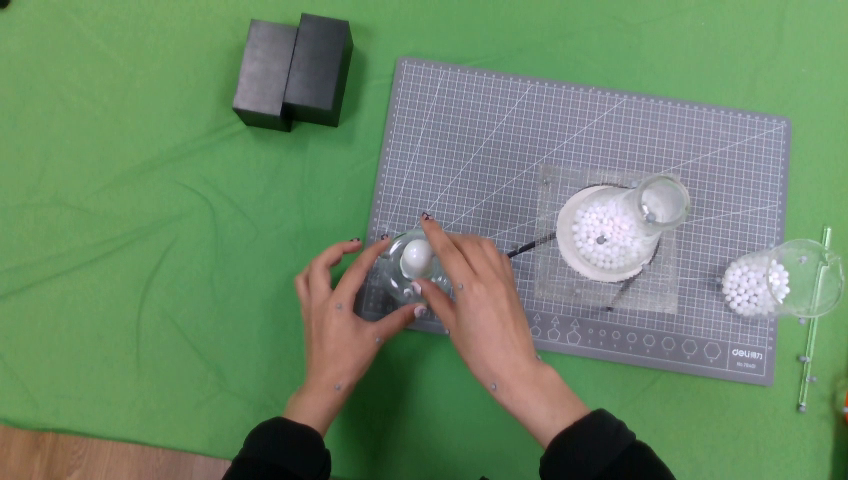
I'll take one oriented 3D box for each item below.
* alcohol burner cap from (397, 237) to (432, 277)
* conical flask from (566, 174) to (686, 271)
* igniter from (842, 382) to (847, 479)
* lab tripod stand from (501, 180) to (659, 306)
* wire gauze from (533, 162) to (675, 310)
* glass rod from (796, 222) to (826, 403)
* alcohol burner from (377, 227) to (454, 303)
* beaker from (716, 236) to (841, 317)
[{"bbox_3d":[-0.008,0.013,0.560,0.034,0.048,0.033,2,73,-5],"label":"alcohol burner cap"},{"bbox_3d":[0.160,-0.018,0.469,0.075,0.122,0.075,0,81,0],"label":"conical flask"},{"bbox_3d":[0.468,0.142,0.634,0.057,0.025,0.275,13,82,-9],"label":"igniter"},{"bbox_3d":[0.156,0.003,0.592,0.148,0.132,0.148,0,83,0],"label":"lab tripod stand"},{"bbox_3d":[0.157,-0.005,0.526,0.125,0.011,0.121,6,84,-2],"label":"wire gauze"},{"bbox_3d":[0.419,0.076,0.653,0.008,0.008,0.199,13,81,1],"label":"glass rod"},{"bbox_3d":[-0.008,0.022,0.596,0.078,0.119,0.077,0,79,-2],"label":"alcohol burner"},{"bbox_3d":[0.351,0.039,0.608,0.084,0.100,0.074,-28,83,-5],"label":"beaker"}]
